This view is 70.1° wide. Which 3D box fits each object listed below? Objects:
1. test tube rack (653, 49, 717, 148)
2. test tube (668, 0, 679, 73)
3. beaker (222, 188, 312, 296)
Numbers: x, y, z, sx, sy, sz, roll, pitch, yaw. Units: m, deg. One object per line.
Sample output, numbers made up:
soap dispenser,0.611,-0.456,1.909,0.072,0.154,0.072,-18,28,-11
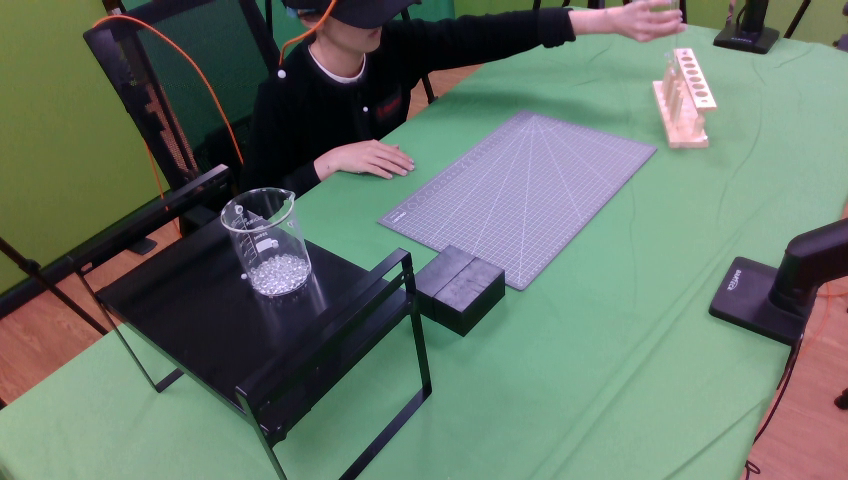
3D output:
test tube rack,0.502,-0.281,1.177,0.066,0.085,0.241,1,41,10
test tube,0.470,-0.385,1.139,0.017,0.151,0.017,-10,41,9
beaker,-0.164,0.003,0.659,0.073,0.101,0.084,28,51,34
